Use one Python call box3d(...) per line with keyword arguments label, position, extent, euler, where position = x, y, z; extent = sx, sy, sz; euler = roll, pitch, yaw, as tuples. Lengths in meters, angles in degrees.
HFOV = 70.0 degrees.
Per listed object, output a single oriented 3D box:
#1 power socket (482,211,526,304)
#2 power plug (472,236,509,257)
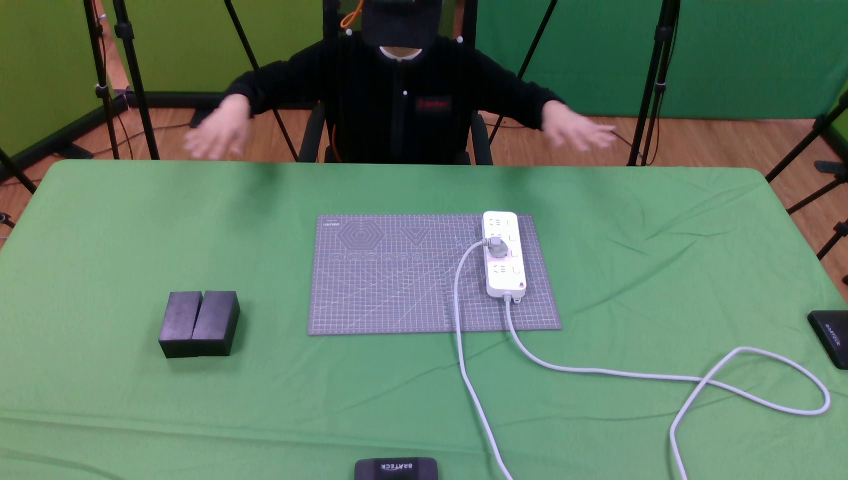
box3d(label="power socket", position=(0.153, 0.025, 1.174), extent=(0.072, 0.033, 0.225), euler=(1, 46, 0))
box3d(label="power plug", position=(0.126, 0.013, 1.149), extent=(0.072, 0.053, 0.035), euler=(12, 46, 5))
